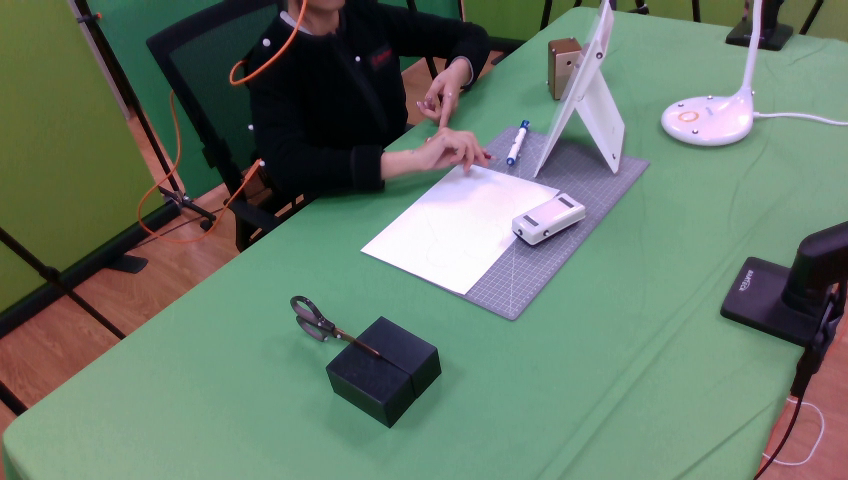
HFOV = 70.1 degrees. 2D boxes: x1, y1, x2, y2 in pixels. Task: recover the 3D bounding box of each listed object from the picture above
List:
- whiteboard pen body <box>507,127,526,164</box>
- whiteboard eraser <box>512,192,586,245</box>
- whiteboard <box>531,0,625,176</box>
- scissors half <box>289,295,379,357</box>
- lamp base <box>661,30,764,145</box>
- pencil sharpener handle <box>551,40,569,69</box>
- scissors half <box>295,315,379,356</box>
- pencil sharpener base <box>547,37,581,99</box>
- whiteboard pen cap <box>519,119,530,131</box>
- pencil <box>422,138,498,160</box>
[{"bbox_3d":[0.181,-0.189,1.162,0.017,0.017,0.140,8,42,19],"label":"whiteboard pen body"},{"bbox_3d":[0.199,-0.032,0.962,0.113,0.042,0.055,-27,43,-20],"label":"whiteboard eraser"},{"bbox_3d":[0.320,-0.258,1.050,0.144,0.306,0.217,22,45,5],"label":"whiteboard"},{"bbox_3d":[-0.122,0.114,0.803,0.174,0.040,0.013,26,50,32],"label":"scissors half"},{"bbox_3d":[0.535,-0.287,1.096,0.179,0.181,0.159,-10,40,-4],"label":"lamp base"},{"bbox_3d":[0.291,-0.409,1.320,0.036,0.068,0.030,2,40,-6],"label":"pencil sharpener handle"},{"bbox_3d":[-0.119,0.131,0.813,0.173,0.040,0.013,9,34,45],"label":"scissors half"},{"bbox_3d":[0.299,-0.368,1.290,0.061,0.107,0.076,-8,40,2],"label":"pencil sharpener base"},{"bbox_3d":[0.199,-0.226,1.204,0.018,0.018,0.033,7,41,18],"label":"whiteboard pen cap"},{"bbox_3d":[0.066,-0.171,1.141,0.192,0.012,0.012,23,49,41],"label":"pencil"}]
